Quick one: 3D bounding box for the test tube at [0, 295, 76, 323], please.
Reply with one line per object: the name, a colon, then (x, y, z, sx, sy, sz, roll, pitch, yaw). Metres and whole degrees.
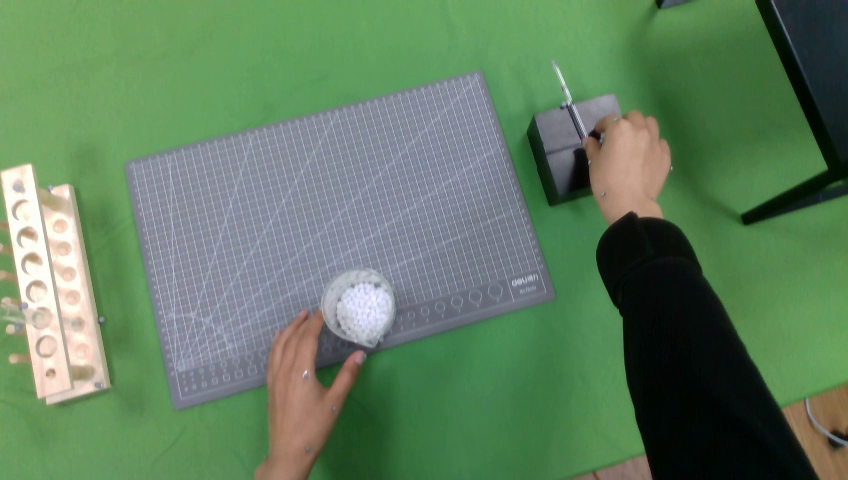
test tube: (-0.384, 0.070, 0.602, 0.017, 0.150, 0.017, 1, 78, -7)

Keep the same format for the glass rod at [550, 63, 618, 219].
glass rod: (0.183, -0.116, 0.696, 0.008, 0.008, 0.199, -19, 80, -5)

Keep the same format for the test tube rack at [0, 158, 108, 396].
test tube rack: (-0.417, 0.043, 0.657, 0.067, 0.085, 0.241, -16, 80, -5)

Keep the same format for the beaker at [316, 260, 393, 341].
beaker: (-0.069, 0.071, 0.652, 0.074, 0.100, 0.083, -20, 80, -5)
